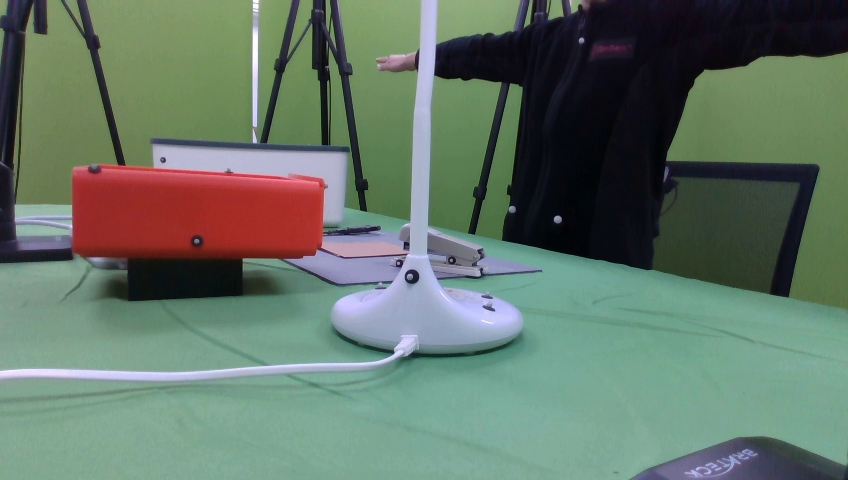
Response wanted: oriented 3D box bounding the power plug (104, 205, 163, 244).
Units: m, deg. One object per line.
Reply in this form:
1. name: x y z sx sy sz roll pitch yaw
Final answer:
1. power plug: -0.390 -0.021 0.815 0.073 0.052 0.035 -1 7 -28

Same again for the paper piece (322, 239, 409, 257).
1. paper piece: -0.091 0.011 0.920 0.139 0.008 0.135 0 11 -34

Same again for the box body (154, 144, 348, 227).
1. box body: -0.357 -0.119 1.264 0.365 0.160 0.253 0 7 -18

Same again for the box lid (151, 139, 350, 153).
1. box lid: -0.352 -0.191 1.255 0.373 0.015 0.262 0 8 -18

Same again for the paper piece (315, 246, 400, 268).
1. paper piece: -0.101 0.022 0.918 0.136 0.004 0.135 2 13 -22

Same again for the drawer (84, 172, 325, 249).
1. drawer: -0.227 -0.036 0.638 0.213 0.073 0.193 -1 9 -23

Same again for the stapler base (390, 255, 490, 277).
1. stapler base: 0.020 0.027 0.779 0.130 0.024 0.041 7 12 25

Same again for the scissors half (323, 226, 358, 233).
1. scissors half: -0.166 -0.016 1.094 0.040 0.013 0.176 4 7 39

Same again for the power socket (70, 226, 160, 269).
1. power socket: -0.409 0.004 0.793 0.072 0.032 0.225 -2 8 -38

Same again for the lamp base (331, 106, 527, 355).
1. lamp base: 0.006 -0.012 0.478 0.161 0.180 0.179 2 10 2

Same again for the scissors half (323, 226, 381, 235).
1. scissors half: -0.153 -0.015 1.079 0.176 0.013 0.040 -6 2 -33

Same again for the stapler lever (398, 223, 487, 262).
1. stapler lever: 0.022 0.003 0.776 0.117 0.040 0.027 7 12 25

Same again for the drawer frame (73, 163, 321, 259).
1. drawer frame: -0.232 -0.034 0.635 0.214 0.082 0.201 1 8 -23
